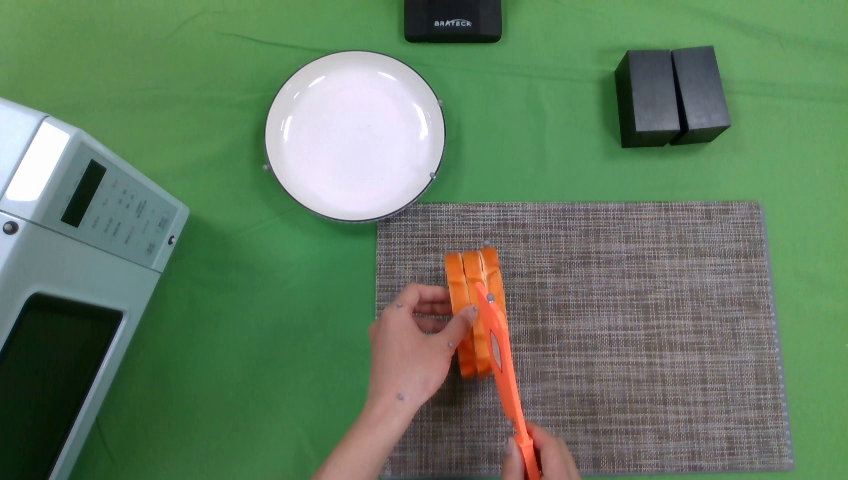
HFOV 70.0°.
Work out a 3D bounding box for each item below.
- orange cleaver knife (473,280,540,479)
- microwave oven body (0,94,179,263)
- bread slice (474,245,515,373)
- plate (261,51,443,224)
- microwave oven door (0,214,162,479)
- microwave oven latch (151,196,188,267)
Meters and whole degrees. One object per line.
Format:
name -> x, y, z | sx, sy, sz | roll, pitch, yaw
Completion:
orange cleaver knife -> 0.074, 0.139, 0.534 | 0.012, 0.077, 0.212 | -16, 103, -9
microwave oven body -> -0.486, 0.079, 0.540 | 0.326, 0.261, 0.440 | 20, 80, 2
bread slice -> 0.071, 0.073, 0.631 | 0.018, 0.107, 0.133 | -7, 79, -2
plate -> -0.081, -0.116, 0.704 | 0.208, 0.039, 0.206 | 0, 79, -1
microwave oven door -> -0.364, 0.166, 0.519 | 0.039, 0.244, 0.354 | 20, 79, 4
microwave oven latch -> -0.287, -0.012, 0.661 | 0.030, 0.029, 0.079 | 22, 80, 3
